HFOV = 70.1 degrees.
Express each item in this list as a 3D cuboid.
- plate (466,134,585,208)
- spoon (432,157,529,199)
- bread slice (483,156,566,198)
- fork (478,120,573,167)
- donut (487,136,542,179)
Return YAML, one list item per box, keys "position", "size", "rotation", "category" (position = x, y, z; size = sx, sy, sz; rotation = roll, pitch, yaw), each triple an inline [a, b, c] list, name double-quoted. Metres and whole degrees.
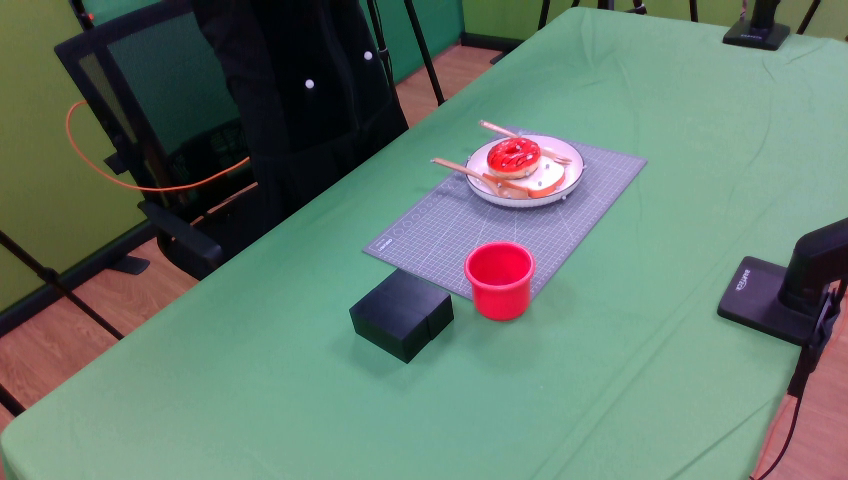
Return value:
- position: [0.178, -0.120, 1.075]
  size: [0.209, 0.038, 0.208]
  rotation: [-5, 40, 5]
  category: "plate"
- position: [0.095, -0.108, 1.055]
  size: [0.192, 0.022, 0.042]
  rotation: [30, 48, 21]
  category: "spoon"
- position: [0.187, -0.120, 1.077]
  size: [0.130, 0.019, 0.105]
  rotation: [27, 53, 37]
  category: "bread slice"
- position: [0.185, -0.183, 1.130]
  size: [0.206, 0.019, 0.028]
  rotation: [33, 70, 24]
  category: "fork"
- position: [0.159, -0.147, 1.068]
  size: [0.099, 0.048, 0.098]
  rotation: [-9, 39, 8]
  category: "donut"
